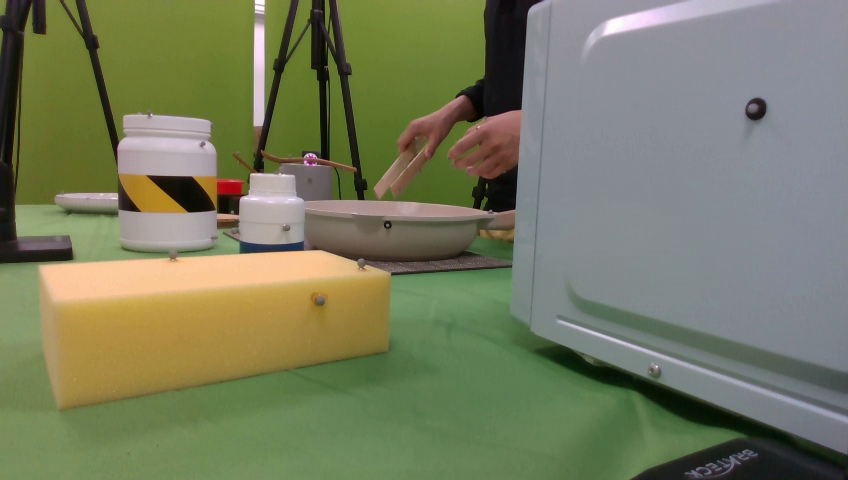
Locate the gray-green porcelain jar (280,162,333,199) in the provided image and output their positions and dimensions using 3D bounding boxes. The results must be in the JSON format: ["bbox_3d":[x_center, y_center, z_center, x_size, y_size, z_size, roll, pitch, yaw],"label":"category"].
[{"bbox_3d":[-0.238,-0.092,1.221,0.106,0.126,0.106,2,7,0],"label":"gray-green porcelain jar"}]

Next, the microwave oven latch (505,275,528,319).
[{"bbox_3d":[0.100,0.041,0.471,0.079,0.029,0.030,-1,7,-28],"label":"microwave oven latch"}]

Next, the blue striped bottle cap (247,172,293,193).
[{"bbox_3d":[-0.152,-0.057,0.598,0.044,0.020,0.044,3,6,0],"label":"blue striped bottle cap"}]

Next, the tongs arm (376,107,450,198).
[{"bbox_3d":[-0.018,-0.198,1.323,0.028,0.028,0.388,-19,25,36],"label":"tongs arm"}]

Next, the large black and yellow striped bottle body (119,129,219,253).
[{"bbox_3d":[-0.367,-0.080,0.876,0.131,0.184,0.130,1,7,0],"label":"large black and yellow striped bottle body"}]

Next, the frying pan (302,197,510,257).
[{"bbox_3d":[0.051,-0.035,0.915,0.487,0.102,0.307,-5,7,10],"label":"frying pan"}]

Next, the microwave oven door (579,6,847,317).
[{"bbox_3d":[0.294,-0.067,0.570,0.358,0.243,0.039,-3,9,-31],"label":"microwave oven door"}]

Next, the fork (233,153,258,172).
[{"bbox_3d":[-0.396,-0.143,1.486,0.028,0.018,0.208,21,-25,45],"label":"fork"}]

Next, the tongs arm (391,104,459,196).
[{"bbox_3d":[0.003,-0.204,1.309,0.050,0.026,0.385,-13,28,37],"label":"tongs arm"}]

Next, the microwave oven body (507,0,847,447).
[{"bbox_3d":[0.331,-0.042,0.425,0.444,0.260,0.324,-2,8,-31],"label":"microwave oven body"}]

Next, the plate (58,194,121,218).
[{"bbox_3d":[-0.671,-0.074,1.310,0.209,0.038,0.209,2,8,0],"label":"plate"}]

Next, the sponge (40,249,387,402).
[{"bbox_3d":[-0.142,0.047,0.419,0.208,0.061,0.117,-2,8,-36],"label":"sponge"}]

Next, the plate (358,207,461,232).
[{"bbox_3d":[-0.029,-0.041,1.213,0.208,0.039,0.207,3,6,0],"label":"plate"}]

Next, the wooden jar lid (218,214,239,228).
[{"bbox_3d":[-0.404,-0.037,1.169,0.108,0.020,0.108,3,7,0],"label":"wooden jar lid"}]

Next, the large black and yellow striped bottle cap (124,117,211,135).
[{"bbox_3d":[-0.366,-0.163,0.866,0.115,0.019,0.115,3,7,0],"label":"large black and yellow striped bottle cap"}]

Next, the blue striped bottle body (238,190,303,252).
[{"bbox_3d":[-0.153,-0.007,0.606,0.063,0.120,0.063,2,8,0],"label":"blue striped bottle body"}]

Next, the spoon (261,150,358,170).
[{"bbox_3d":[-0.229,-0.161,1.222,0.194,0.021,0.041,3,3,-16],"label":"spoon"}]
